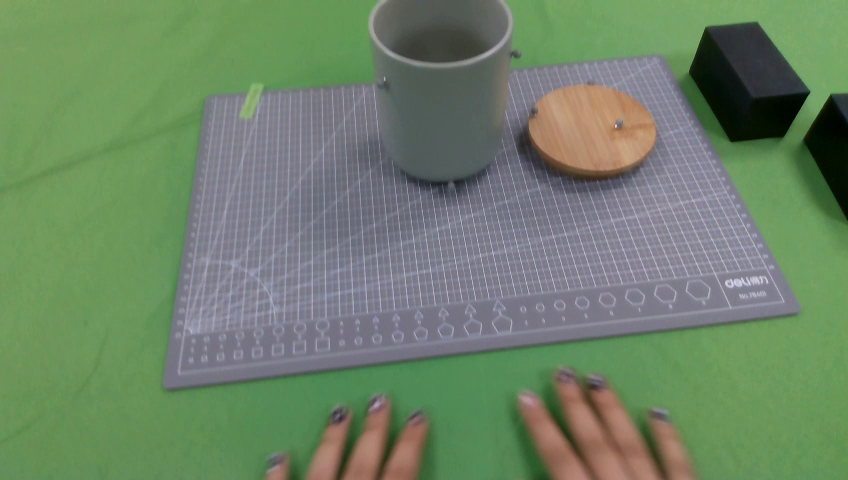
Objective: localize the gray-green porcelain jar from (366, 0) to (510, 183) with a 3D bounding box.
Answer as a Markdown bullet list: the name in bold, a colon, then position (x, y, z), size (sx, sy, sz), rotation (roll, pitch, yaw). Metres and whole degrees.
- **gray-green porcelain jar**: position (0.012, -0.118, 0.487), size (0.106, 0.127, 0.105), rotation (-1, 53, 1)

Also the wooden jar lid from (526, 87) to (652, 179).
- **wooden jar lid**: position (0.143, -0.093, 0.532), size (0.108, 0.021, 0.107), rotation (-1, 52, 2)
